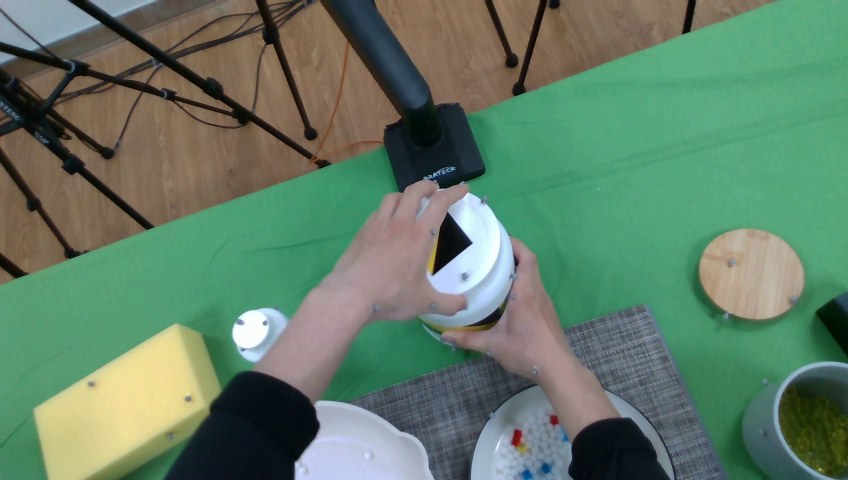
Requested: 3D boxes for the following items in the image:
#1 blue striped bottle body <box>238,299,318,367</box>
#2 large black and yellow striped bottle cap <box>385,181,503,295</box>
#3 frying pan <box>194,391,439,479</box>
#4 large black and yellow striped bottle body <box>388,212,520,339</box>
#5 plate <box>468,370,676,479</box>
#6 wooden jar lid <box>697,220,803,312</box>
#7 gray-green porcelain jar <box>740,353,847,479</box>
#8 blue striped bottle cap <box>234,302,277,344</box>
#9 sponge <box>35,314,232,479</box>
[{"bbox_3d":[-0.175,0.109,0.714,0.063,0.122,0.062,-4,68,11],"label":"blue striped bottle body"},{"bbox_3d":[0.019,-0.003,0.588,0.115,0.019,0.114,-4,68,10],"label":"large black and yellow striped bottle cap"},{"bbox_3d":[-0.051,0.375,0.590,0.307,0.104,0.483,-41,58,-4],"label":"frying pan"},{"bbox_3d":[0.035,0.027,0.667,0.130,0.185,0.130,-4,68,11],"label":"large black and yellow striped bottle body"},{"bbox_3d":[0.151,0.242,0.634,0.209,0.038,0.207,-4,69,11],"label":"plate"},{"bbox_3d":[0.365,0.030,0.685,0.108,0.021,0.107,-4,70,11],"label":"wooden jar lid"},{"bbox_3d":[0.366,0.171,0.572,0.105,0.127,0.105,-4,68,11],"label":"gray-green porcelain jar"},{"bbox_3d":[-0.186,0.091,0.667,0.044,0.021,0.044,-6,66,13],"label":"blue striped bottle cap"},{"bbox_3d":[-0.360,0.200,0.752,0.207,0.061,0.117,-31,66,-2],"label":"sponge"}]
